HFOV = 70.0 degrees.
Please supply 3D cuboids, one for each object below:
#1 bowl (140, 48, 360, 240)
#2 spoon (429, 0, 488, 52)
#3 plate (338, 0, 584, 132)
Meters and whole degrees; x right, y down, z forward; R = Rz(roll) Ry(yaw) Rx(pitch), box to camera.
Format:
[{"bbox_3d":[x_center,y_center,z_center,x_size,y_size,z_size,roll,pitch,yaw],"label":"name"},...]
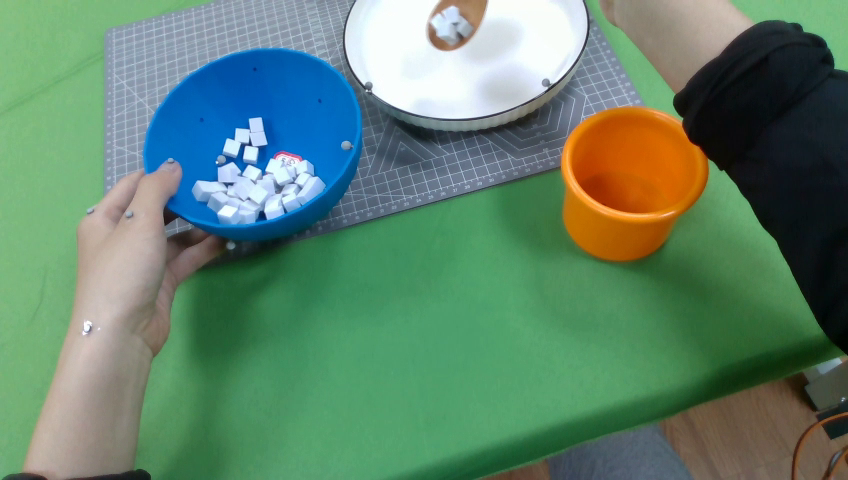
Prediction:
[{"bbox_3d":[-0.115,-0.057,0.445,0.151,0.077,0.150,-2,64,4],"label":"bowl"},{"bbox_3d":[0.061,-0.220,0.434,0.041,0.194,0.022,48,37,16],"label":"spoon"},{"bbox_3d":[0.030,-0.174,0.527,0.209,0.038,0.207,-2,62,5],"label":"plate"}]
